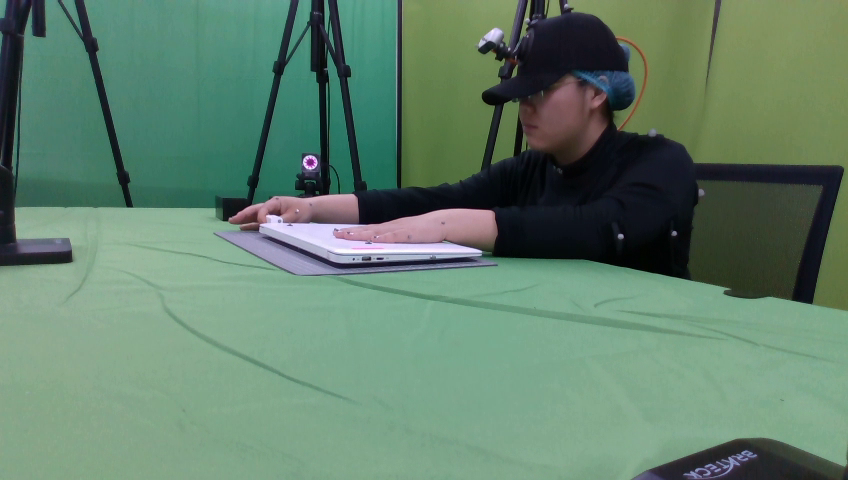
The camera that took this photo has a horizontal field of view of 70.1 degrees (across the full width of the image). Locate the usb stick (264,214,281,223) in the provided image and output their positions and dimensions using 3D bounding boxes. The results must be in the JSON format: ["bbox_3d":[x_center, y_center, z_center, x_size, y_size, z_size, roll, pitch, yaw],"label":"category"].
[{"bbox_3d":[-0.269,-0.030,1.080,0.021,0.027,0.059,-6,18,-28],"label":"usb stick"}]

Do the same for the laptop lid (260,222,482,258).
[{"bbox_3d":[-0.099,-0.003,0.962,0.243,0.013,0.355,2,7,-30],"label":"laptop lid"}]

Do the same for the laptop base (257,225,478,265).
[{"bbox_3d":[-0.102,0.007,0.962,0.237,0.023,0.352,2,6,-32],"label":"laptop base"}]
